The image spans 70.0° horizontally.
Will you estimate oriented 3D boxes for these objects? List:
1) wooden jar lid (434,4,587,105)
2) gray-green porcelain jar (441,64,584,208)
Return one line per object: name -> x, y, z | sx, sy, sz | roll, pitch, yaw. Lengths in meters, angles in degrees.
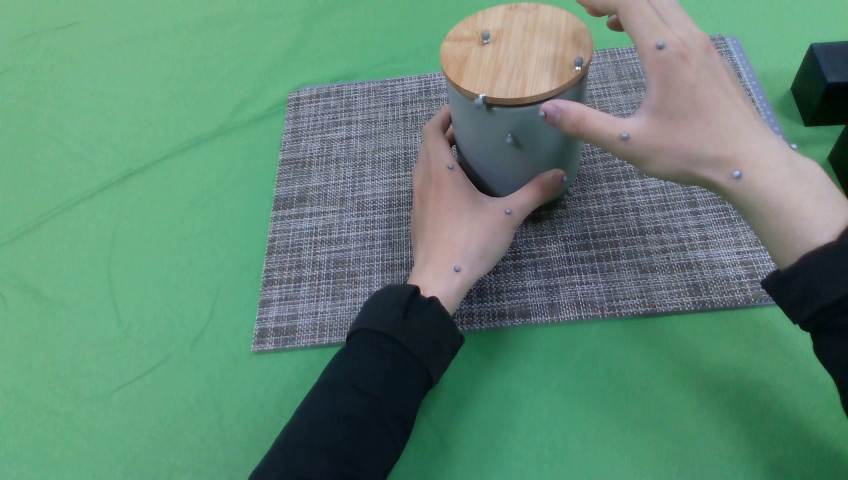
wooden jar lid -> 0.062, -0.132, 0.438 | 0.108, 0.021, 0.107 | -4, 54, 6
gray-green porcelain jar -> 0.072, -0.096, 0.490 | 0.106, 0.128, 0.105 | -4, 55, 7
